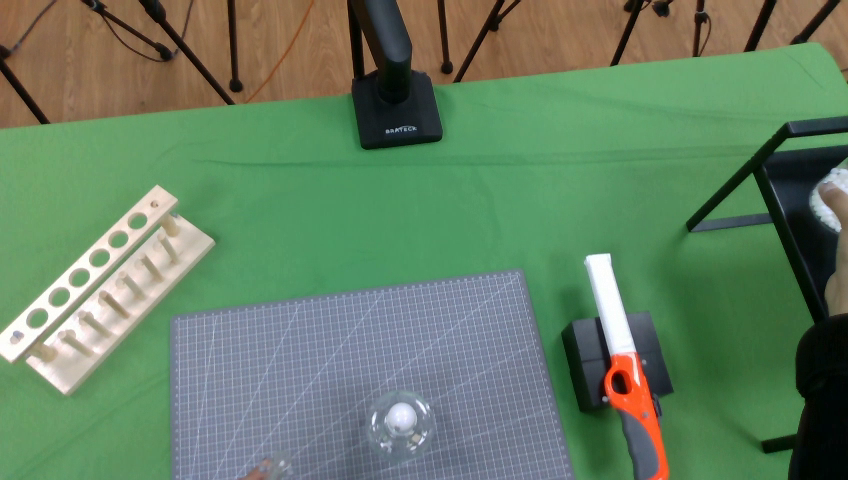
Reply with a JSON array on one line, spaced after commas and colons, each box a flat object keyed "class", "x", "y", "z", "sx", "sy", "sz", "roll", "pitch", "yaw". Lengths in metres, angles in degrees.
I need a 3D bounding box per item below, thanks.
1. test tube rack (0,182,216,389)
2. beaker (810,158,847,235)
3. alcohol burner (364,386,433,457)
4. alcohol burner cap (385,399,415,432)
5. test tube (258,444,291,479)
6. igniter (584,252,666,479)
[{"class": "test tube rack", "x": -0.365, "y": 0.052, "z": 0.714, "sx": 0.066, "sy": 0.086, "sz": 0.241, "roll": 35, "pitch": 68, "yaw": 11}, {"class": "beaker", "x": 0.439, "y": -0.056, "z": 0.593, "sx": 0.084, "sy": 0.101, "sz": 0.073, "roll": 29, "pitch": 64, "yaw": 9}, {"class": "alcohol burner", "x": -0.027, "y": 0.195, "z": 0.663, "sx": 0.078, "sy": 0.120, "sz": 0.077, "roll": 3, "pitch": 63, "yaw": -5}, {"class": "alcohol burner cap", "x": -0.024, "y": 0.181, "z": 0.630, "sx": 0.034, "sy": 0.048, "sz": 0.033, "roll": 1, "pitch": 69, "yaw": -3}, {"class": "test tube", "x": -0.139, "y": 0.214, "z": 0.534, "sx": 0.017, "sy": 0.151, "sz": 0.017, "roll": 14, "pitch": 48, "yaw": -15}, {"class": "igniter", "x": 0.232, "y": 0.142, "z": 0.706, "sx": 0.057, "sy": 0.025, "sz": 0.274, "roll": -5, "pitch": 65, "yaw": -4}]
